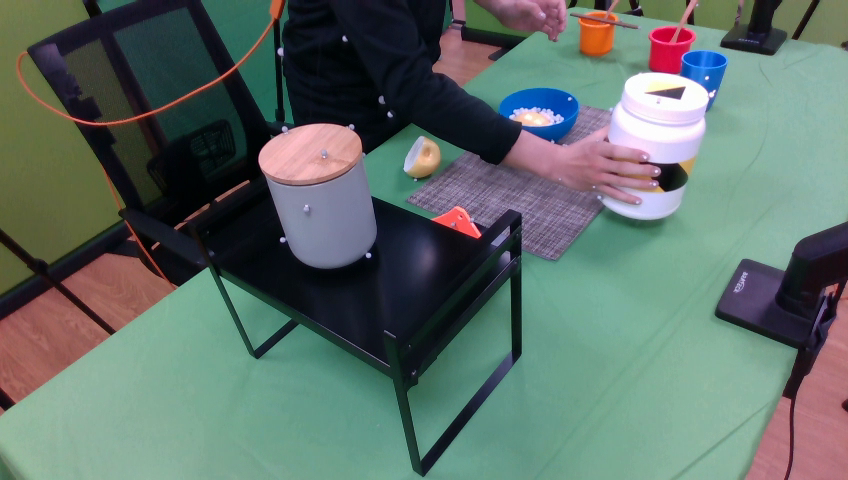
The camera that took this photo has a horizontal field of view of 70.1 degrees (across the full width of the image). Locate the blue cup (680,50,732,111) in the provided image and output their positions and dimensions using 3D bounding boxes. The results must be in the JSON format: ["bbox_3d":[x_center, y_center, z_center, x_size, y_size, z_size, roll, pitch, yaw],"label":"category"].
[{"bbox_3d":[0.546,-0.309,1.193,0.092,0.100,0.092,-4,39,3],"label":"blue cup"}]

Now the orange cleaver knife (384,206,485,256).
[{"bbox_3d":[0.012,-0.010,0.942,0.012,0.077,0.210,-37,19,-35],"label":"orange cleaver knife"}]

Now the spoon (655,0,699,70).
[{"bbox_3d":[0.567,-0.463,1.337,0.041,0.022,0.193,30,97,38],"label":"spoon"}]

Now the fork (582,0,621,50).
[{"bbox_3d":[0.446,-0.539,1.438,0.207,0.019,0.028,-57,36,12],"label":"fork"}]

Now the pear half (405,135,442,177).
[{"bbox_3d":[-0.003,-0.151,1.136,0.076,0.056,0.109,-62,22,-8],"label":"pear half"}]

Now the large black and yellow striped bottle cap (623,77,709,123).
[{"bbox_3d":[0.343,-0.200,0.858,0.115,0.019,0.114,1,39,-1],"label":"large black and yellow striped bottle cap"}]

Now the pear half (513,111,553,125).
[{"bbox_3d":[0.212,-0.227,1.152,0.088,0.031,0.070,7,44,11],"label":"pear half"}]

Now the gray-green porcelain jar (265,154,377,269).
[{"bbox_3d":[-0.112,-0.039,0.685,0.106,0.127,0.105,-4,40,4],"label":"gray-green porcelain jar"}]

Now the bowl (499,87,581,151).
[{"bbox_3d":[0.220,-0.223,1.155,0.151,0.077,0.150,-4,40,4],"label":"bowl"}]

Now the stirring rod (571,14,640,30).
[{"bbox_3d":[0.419,-0.508,1.404,0.174,0.006,0.014,28,55,35],"label":"stirring rod"}]

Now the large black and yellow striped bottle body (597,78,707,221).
[{"bbox_3d":[0.343,-0.137,0.913,0.131,0.184,0.130,1,40,0],"label":"large black and yellow striped bottle body"}]

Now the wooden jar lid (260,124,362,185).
[{"bbox_3d":[-0.119,-0.088,0.645,0.108,0.021,0.108,-4,40,4],"label":"wooden jar lid"}]
